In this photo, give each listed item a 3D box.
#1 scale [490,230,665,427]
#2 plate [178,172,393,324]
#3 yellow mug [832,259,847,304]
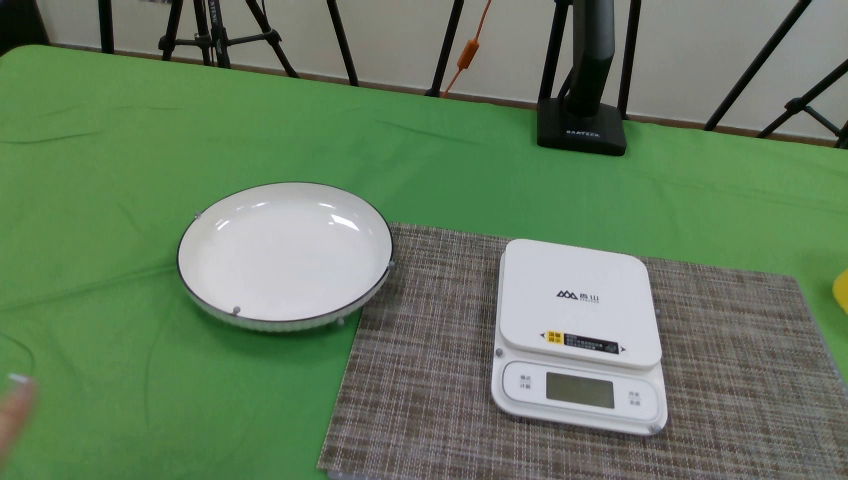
[{"bbox_3d":[0.142,0.073,0.568,0.148,0.032,0.199,8,43,3],"label":"scale"},{"bbox_3d":[-0.136,0.007,0.612,0.209,0.038,0.207,3,43,-2],"label":"plate"},{"bbox_3d":[0.499,0.045,0.614,0.100,0.064,0.129,-25,51,-28],"label":"yellow mug"}]
